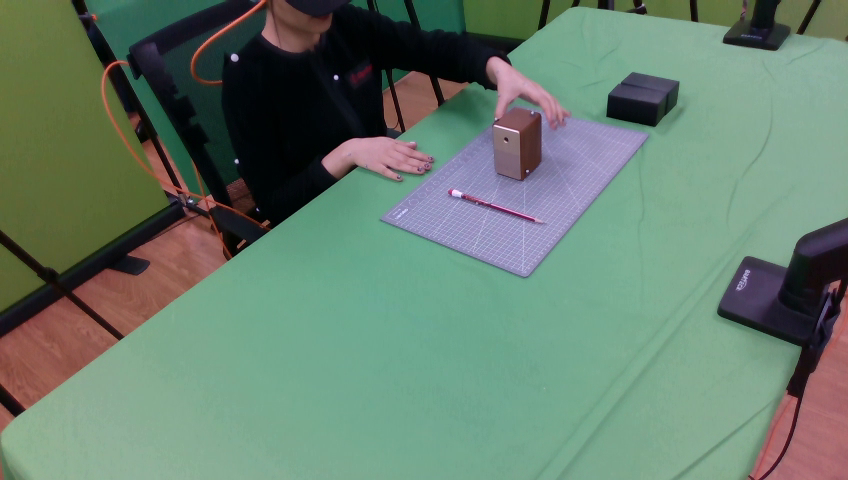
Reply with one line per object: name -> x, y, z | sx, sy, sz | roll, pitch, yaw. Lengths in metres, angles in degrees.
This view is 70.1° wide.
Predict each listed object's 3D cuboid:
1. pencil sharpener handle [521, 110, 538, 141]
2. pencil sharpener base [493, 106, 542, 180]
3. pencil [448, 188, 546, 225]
pencil sharpener handle -> 0.198, -0.214, 1.107 | 0.036, 0.068, 0.031 | 31, 53, 24
pencil sharpener base -> 0.170, -0.175, 1.085 | 0.061, 0.107, 0.077 | 23, 49, 33
pencil -> 0.122, -0.057, 1.033 | 0.192, 0.012, 0.012 | 22, 50, 29
